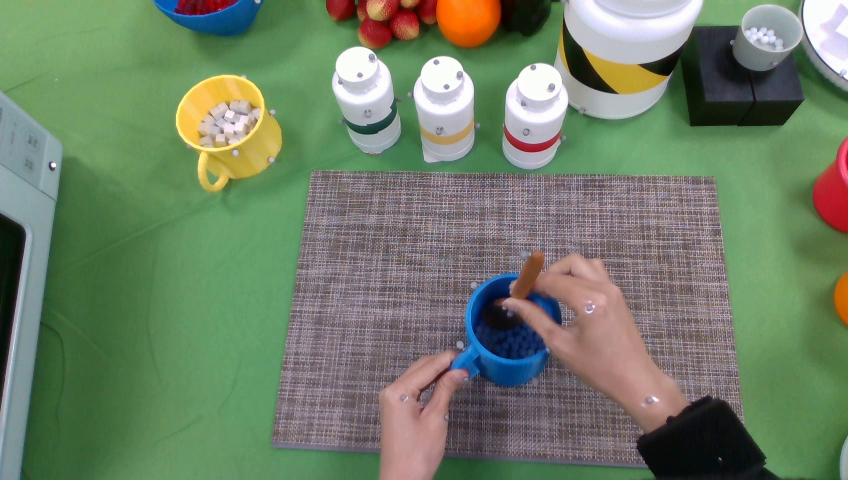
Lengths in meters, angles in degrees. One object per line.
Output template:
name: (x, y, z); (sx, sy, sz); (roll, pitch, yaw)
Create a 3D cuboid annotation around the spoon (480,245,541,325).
spoon: (0.076, 0.043, 0.509); (0.041, 0.195, 0.021); (13, 72, 3)

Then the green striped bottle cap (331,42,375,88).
green striped bottle cap: (-0.072, -0.177, 0.614); (0.044, 0.020, 0.044); (0, 71, 1)

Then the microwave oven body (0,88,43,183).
microwave oven body: (-0.576, 0.054, 0.541); (0.326, 0.262, 0.438); (-7, 69, 1)

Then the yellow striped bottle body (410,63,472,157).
yellow striped bottle body: (0.020, -0.145, 0.651); (0.063, 0.121, 0.062); (-2, 68, 5)

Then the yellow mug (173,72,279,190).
yellow mug: (-0.229, -0.118, 0.689); (0.100, 0.064, 0.130); (11, 71, 8)

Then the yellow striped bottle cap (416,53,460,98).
yellow striped bottle cap: (0.014, -0.164, 0.603); (0.044, 0.019, 0.044); (0, 66, 0)

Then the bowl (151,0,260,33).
bowl: (-0.263, -0.316, 0.762); (0.151, 0.077, 0.150); (-1, 69, 4)

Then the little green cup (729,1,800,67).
little green cup: (0.358, -0.216, 0.642); (0.061, 0.039, 0.061); (-1, 67, 2)

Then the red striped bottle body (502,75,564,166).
red striped bottle body: (0.114, -0.133, 0.640); (0.063, 0.120, 0.062); (-3, 67, 6)

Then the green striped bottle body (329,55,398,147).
green striped bottle body: (-0.066, -0.157, 0.663); (0.063, 0.120, 0.062); (-1, 68, 4)

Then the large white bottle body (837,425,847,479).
large white bottle body: (0.428, 0.179, 0.460); (0.130, 0.186, 0.129); (-2, 68, 4)

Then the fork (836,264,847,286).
fork: (0.460, 0.064, 0.521); (0.028, 0.019, 0.205); (-35, 26, -9)

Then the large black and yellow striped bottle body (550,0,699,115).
large black and yellow striped bottle body: (0.207, -0.233, 0.637); (0.131, 0.185, 0.130); (-2, 69, 4)

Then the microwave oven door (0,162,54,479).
microwave oven door: (-0.428, 0.073, 0.517); (0.039, 0.245, 0.353); (-8, 68, 2)

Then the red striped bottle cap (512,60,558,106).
red striped bottle cap: (0.109, -0.154, 0.591); (0.044, 0.018, 0.044); (0, 68, 1)

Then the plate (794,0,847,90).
plate: (0.528, -0.242, 0.693); (0.209, 0.038, 0.207); (-1, 69, 4)

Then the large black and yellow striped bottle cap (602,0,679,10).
large black and yellow striped bottle cap: (0.200, -0.263, 0.558); (0.115, 0.019, 0.114); (-2, 68, 5)

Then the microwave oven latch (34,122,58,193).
microwave oven latch: (-0.441, -0.093, 0.691); (0.030, 0.030, 0.078); (-6, 69, 2)

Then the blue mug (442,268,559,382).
blue mug: (0.065, 0.091, 0.561); (0.116, 0.106, 0.081); (-35, 69, -9)
